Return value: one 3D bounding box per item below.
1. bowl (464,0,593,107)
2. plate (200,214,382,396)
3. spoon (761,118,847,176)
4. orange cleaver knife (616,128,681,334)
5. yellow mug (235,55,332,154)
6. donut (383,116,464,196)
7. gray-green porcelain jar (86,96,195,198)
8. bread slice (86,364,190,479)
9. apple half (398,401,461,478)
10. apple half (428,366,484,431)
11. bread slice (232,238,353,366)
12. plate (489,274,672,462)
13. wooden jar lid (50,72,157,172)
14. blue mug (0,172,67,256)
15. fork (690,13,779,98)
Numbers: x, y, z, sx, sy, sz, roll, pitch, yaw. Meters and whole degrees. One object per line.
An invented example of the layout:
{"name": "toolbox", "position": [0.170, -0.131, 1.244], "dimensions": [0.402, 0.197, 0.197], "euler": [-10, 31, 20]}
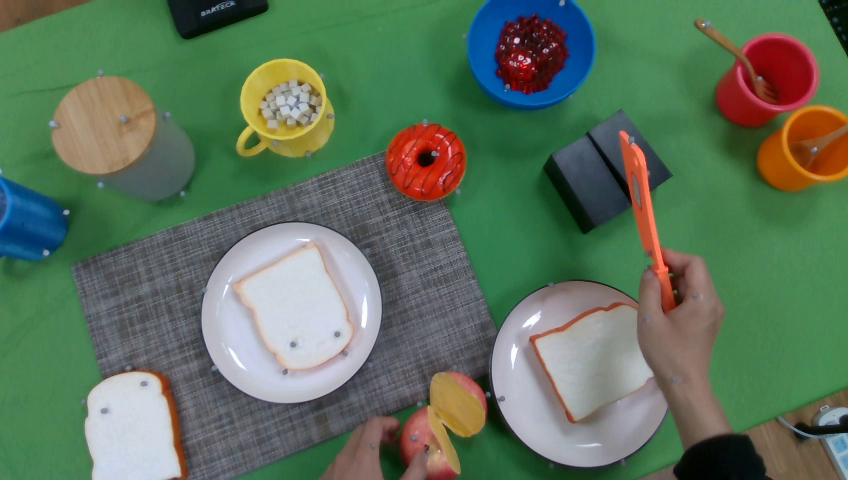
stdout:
{"name": "bowl", "position": [0.122, -0.224, 0.740], "dimensions": [0.151, 0.077, 0.151], "euler": [0, 81, 0]}
{"name": "plate", "position": [-0.151, 0.075, 0.704], "dimensions": [0.208, 0.039, 0.207], "euler": [0, 81, 0]}
{"name": "spoon", "position": [0.482, -0.133, 0.691], "dimensions": [0.022, 0.194, 0.041], "euler": [-16, 75, -49]}
{"name": "orange cleaver knife", "position": [0.223, -0.008, 0.607], "dimensions": [0.012, 0.077, 0.212], "euler": [-16, 105, 7]}
{"name": "yellow mug", "position": [-0.177, -0.152, 0.732], "dimensions": [0.131, 0.064, 0.099], "euler": [-44, 83, -6]}
{"name": "donut", "position": [0.000, -0.101, 0.731], "dimensions": [0.099, 0.048, 0.098], "euler": [0, 81, 0]}
{"name": "gray-green porcelain jar", "position": [-0.331, -0.109, 0.693], "dimensions": [0.106, 0.127, 0.105], "euler": [0, 80, 0]}
{"name": "bread slice", "position": [-0.333, 0.210, 0.691], "dimensions": [0.105, 0.019, 0.131], "euler": [-13, 82, -3]}
{"name": "apple half", "position": [0.000, 0.224, 0.667], "dimensions": [0.053, 0.075, 0.080], "euler": [-29, 84, 5]}
{"name": "apple half", "position": [0.041, 0.176, 0.689], "dimensions": [0.033, 0.081, 0.081], "euler": [-29, 79, -41]}
{"name": "bread slice", "position": [-0.144, 0.077, 0.705], "dimensions": [0.107, 0.018, 0.134], "euler": [-32, 81, -5]}
{"name": "plate", "position": [0.177, 0.145, 0.698], "dimensions": [0.209, 0.038, 0.208], "euler": [0, 80, 0]}
{"name": "wooden jar lid", "position": [-0.331, -0.121, 0.632], "dimensions": [0.108, 0.021, 0.108], "euler": [0, 79, 1]}
{"name": "blue mug", "position": [-0.489, -0.018, 0.687], "dimensions": [0.082, 0.106, 0.116], "euler": [42, 83, 7]}
{"name": "fork", "position": [0.365, -0.212, 0.703], "dimensions": [0.209, 0.018, 0.028], "euler": [19, 76, -39]}
